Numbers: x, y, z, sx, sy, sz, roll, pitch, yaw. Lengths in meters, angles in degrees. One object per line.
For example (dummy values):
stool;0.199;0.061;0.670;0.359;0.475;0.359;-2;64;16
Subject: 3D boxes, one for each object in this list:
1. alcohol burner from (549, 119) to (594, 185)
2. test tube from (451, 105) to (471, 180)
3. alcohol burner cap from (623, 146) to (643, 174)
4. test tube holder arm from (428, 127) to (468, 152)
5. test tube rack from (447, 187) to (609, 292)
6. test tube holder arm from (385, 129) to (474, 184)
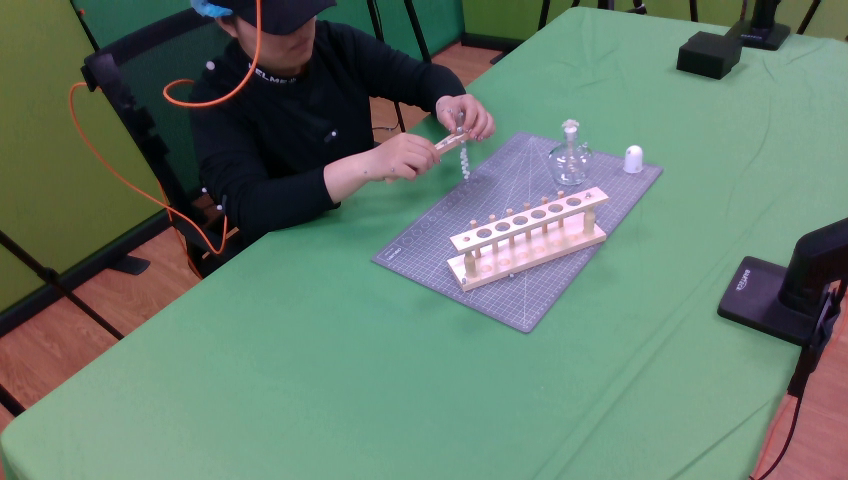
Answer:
alcohol burner;0.254;-0.155;1.043;0.078;0.120;0.077;-7;40;6
test tube;0.066;-0.167;1.052;0.017;0.151;0.017;-8;41;7
alcohol burner cap;0.369;-0.142;1.061;0.034;0.048;0.033;-7;41;6
test tube holder arm;0.042;-0.167;1.036;0.088;0.015;0.010;-37;37;-26
test tube rack;0.155;-0.011;0.913;0.243;0.085;0.066;-19;41;-12
test tube holder arm;0.011;-0.142;1.016;0.179;0.015;0.013;-32;35;-19
